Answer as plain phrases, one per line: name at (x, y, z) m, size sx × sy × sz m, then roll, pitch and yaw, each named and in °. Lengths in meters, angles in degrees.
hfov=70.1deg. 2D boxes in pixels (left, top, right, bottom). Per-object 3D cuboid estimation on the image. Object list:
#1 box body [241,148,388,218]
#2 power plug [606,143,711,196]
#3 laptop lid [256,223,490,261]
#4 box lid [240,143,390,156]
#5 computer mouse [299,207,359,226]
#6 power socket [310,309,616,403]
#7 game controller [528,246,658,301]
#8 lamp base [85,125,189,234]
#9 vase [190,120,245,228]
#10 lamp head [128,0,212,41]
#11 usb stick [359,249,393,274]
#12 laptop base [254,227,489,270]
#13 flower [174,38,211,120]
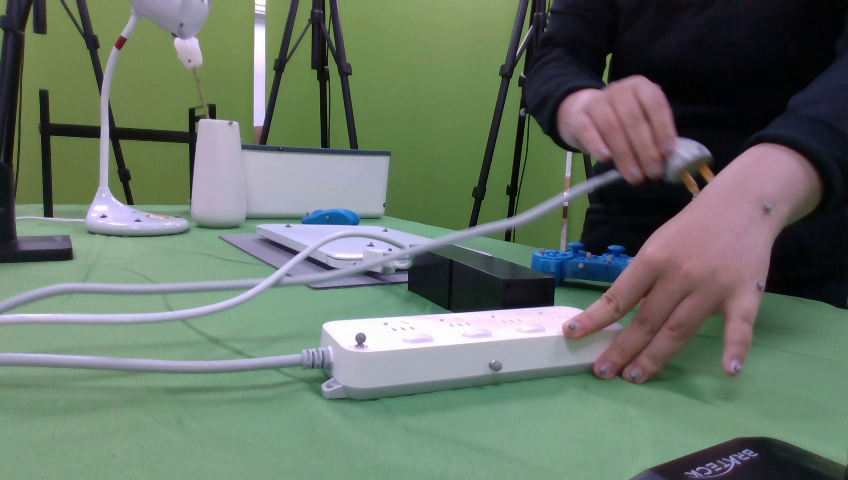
box body at (-0.297, -0.143, 1.474) m, size 0.366 × 0.160 × 0.253 m, roll -1°, pitch 9°, yaw -30°
power plug at (0.197, -0.049, 0.500) m, size 0.035 × 0.072 × 0.052 m, roll 7°, pitch 47°, yaw -45°
laptop lid at (-0.093, 0.000, 0.911) m, size 0.243 × 0.013 × 0.355 m, roll 1°, pitch 7°, yaw -30°
box lid at (-0.295, -0.217, 1.463) m, size 0.373 × 0.015 × 0.262 m, roll -1°, pitch 8°, yaw -29°
computer mouse at (-0.195, -0.046, 1.240) m, size 0.117 × 0.041 × 0.063 m, roll 0°, pitch 9°, yaw 12°
power socket at (0.033, 0.074, 0.415) m, size 0.228 × 0.032 × 0.072 m, roll -1°, pitch 8°, yaw -25°
game controller at (0.202, 0.037, 0.731) m, size 0.155 × 0.051 × 0.097 m, roll 5°, pitch 10°, yaw 20°
lamp base at (-0.498, -0.105, 1.026) m, size 0.179 × 0.180 × 0.160 m, roll 1°, pitch 7°, yaw 3°
vase at (-0.389, -0.123, 1.142) m, size 0.098 × 0.200 × 0.098 m, roll 3°, pitch 9°, yaw 0°
lamp head at (-0.423, -0.394, 0.979) m, size 0.123 × 0.112 × 0.112 m, roll 20°, pitch 7°, yaw -3°
usb stick at (-0.060, 0.024, 0.708) m, size 0.021 × 0.027 × 0.059 m, roll -1°, pitch 2°, yaw -33°
laptop base at (-0.096, 0.011, 0.911) m, size 0.237 × 0.023 × 0.352 m, roll 2°, pitch 6°, yaw -32°
flower at (-0.401, -0.207, 1.140) m, size 0.038 × 0.361 × 0.044 m, roll -14°, pitch 3°, yaw 44°
